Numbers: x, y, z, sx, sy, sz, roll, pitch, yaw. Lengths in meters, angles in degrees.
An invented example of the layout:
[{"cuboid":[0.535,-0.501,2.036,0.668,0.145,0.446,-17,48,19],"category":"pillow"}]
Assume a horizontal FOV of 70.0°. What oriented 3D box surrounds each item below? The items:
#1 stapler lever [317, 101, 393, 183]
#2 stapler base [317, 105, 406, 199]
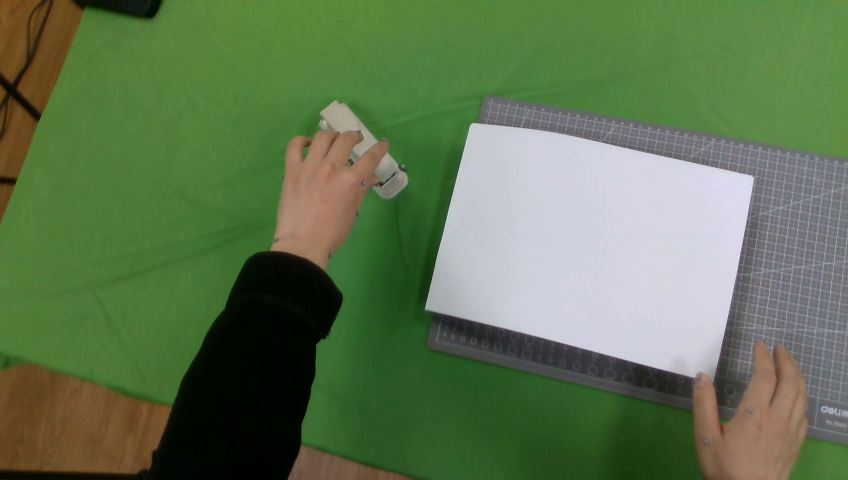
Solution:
[{"cuboid":[-0.078,-0.111,0.676,0.027,0.040,0.117,-40,76,-5],"category":"stapler lever"},{"cuboid":[-0.074,-0.105,0.700,0.041,0.024,0.130,-40,77,-5],"category":"stapler base"}]
